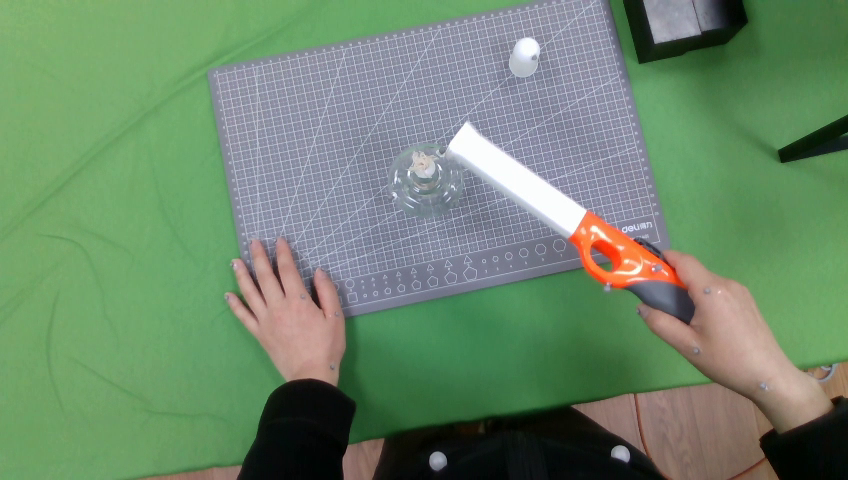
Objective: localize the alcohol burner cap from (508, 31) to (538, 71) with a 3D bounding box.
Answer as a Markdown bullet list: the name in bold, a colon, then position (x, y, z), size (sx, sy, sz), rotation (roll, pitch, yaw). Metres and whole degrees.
- **alcohol burner cap**: position (0.107, -0.204, 0.645), size (0.034, 0.048, 0.034), rotation (0, 85, 2)

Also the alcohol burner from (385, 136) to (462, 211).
- **alcohol burner**: position (-0.001, -0.069, 0.597), size (0.078, 0.119, 0.077), rotation (0, 85, 2)

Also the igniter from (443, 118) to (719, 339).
- **igniter**: position (0.135, -0.010, 0.511), size (0.276, 0.025, 0.057), rotation (36, 66, 0)
